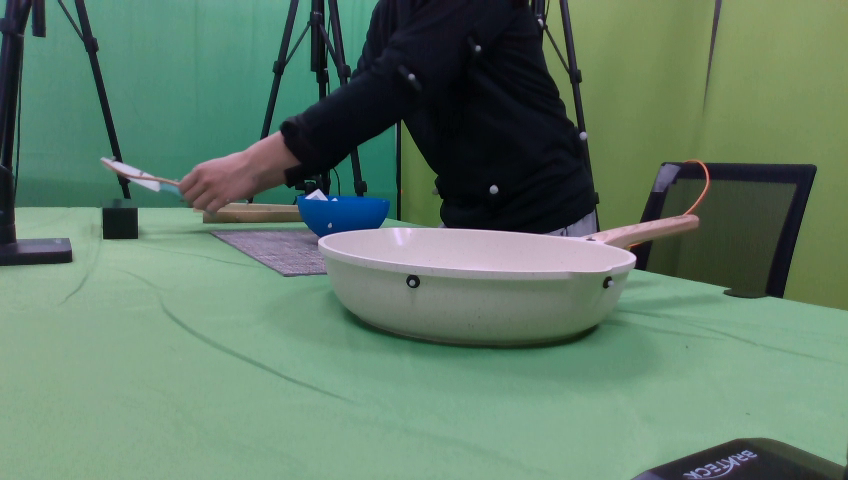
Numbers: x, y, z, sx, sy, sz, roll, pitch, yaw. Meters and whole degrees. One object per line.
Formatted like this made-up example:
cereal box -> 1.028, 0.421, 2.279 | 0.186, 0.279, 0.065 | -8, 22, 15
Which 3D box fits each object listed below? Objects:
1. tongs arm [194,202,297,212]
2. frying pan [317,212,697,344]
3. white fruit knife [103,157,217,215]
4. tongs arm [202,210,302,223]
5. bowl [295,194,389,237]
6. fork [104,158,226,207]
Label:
tongs arm -> -0.335, -0.070, 1.425 | 0.387, 0.026, 0.050 | 0, 9, -24
frying pan -> 0.133, 0.013, 0.629 | 0.490, 0.102, 0.305 | -12, 14, -31
white fruit knife -> -0.468, -0.099, 1.086 | 0.208, 0.027, 0.016 | 26, -7, -30
tongs arm -> -0.298, -0.055, 1.355 | 0.390, 0.028, 0.028 | -3, 7, -36
bowl -> -0.132, -0.032, 0.980 | 0.151, 0.077, 0.151 | 1, 7, 0
fork -> -0.432, -0.094, 1.022 | 0.208, 0.018, 0.028 | 19, 0, -36
